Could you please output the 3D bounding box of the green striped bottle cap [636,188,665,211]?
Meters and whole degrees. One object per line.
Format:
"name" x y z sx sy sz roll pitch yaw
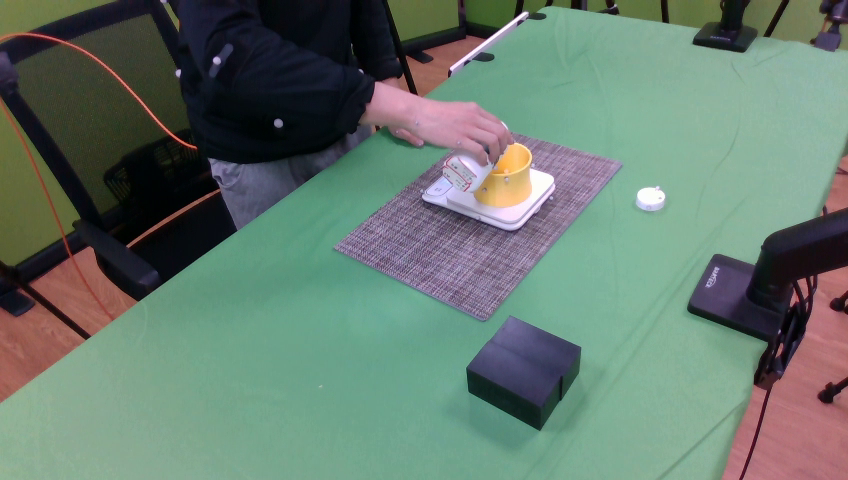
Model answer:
"green striped bottle cap" 0.374 -0.067 0.998 0.044 0.020 0.044 -6 39 5

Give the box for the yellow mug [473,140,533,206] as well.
"yellow mug" 0.125 -0.121 1.004 0.100 0.064 0.130 -13 41 -5

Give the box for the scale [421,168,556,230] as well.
"scale" 0.110 -0.089 1.042 0.199 0.032 0.149 23 48 31

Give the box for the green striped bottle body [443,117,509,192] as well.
"green striped bottle body" 0.083 -0.133 0.904 0.063 0.063 0.119 19 56 28
